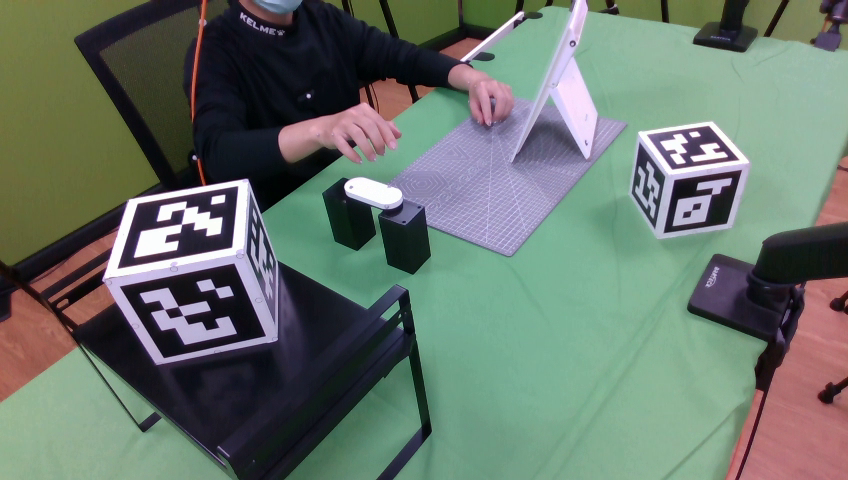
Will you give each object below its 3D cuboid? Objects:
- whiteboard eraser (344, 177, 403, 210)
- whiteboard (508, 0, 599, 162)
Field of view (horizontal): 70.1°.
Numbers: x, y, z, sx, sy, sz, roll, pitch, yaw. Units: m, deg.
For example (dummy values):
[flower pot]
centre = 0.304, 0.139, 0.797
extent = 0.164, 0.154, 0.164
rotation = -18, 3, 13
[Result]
[whiteboard eraser]
centre = -0.077, -0.071, 0.912
extent = 0.100, 0.019, 0.041
rotation = 20, 50, 29
[whiteboard]
centre = 0.285, -0.289, 1.090
extent = 0.144, 0.305, 0.217
rotation = 22, 45, 3
